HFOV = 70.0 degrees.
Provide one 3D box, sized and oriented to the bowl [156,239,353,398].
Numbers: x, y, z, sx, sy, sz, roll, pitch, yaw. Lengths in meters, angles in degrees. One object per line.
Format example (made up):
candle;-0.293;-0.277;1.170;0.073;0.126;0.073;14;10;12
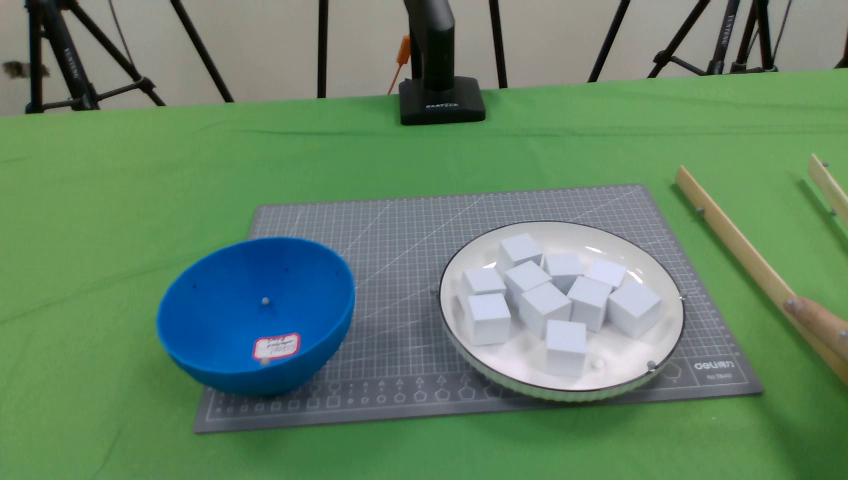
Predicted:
bowl;-0.129;0.075;0.494;0.151;0.077;0.150;-1;39;1

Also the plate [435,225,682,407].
plate;0.113;0.063;0.530;0.208;0.039;0.205;-1;39;1

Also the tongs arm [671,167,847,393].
tongs arm;0.327;0.042;0.559;0.028;0.028;0.383;-6;39;-8

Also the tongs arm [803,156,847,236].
tongs arm;0.409;0.035;0.557;0.051;0.027;0.381;0;40;4
